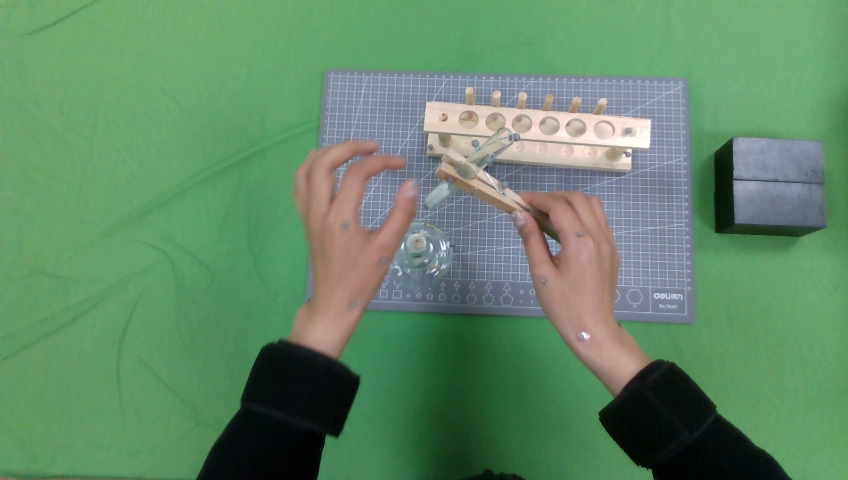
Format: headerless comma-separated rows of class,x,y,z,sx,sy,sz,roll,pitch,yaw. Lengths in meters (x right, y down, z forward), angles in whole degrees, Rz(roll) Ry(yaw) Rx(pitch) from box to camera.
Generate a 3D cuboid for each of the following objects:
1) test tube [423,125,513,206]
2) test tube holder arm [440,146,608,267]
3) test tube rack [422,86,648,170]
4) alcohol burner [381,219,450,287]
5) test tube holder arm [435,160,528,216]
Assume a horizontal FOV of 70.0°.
test tube,0.032,-0.058,0.513,0.017,0.150,0.017,7,71,-21
test tube holder arm,0.091,-0.027,0.530,0.179,0.015,0.013,32,70,-12
test tube rack,0.123,-0.134,0.696,0.242,0.085,0.066,5,81,3
alcohol burner,-0.010,0.011,0.660,0.078,0.119,0.077,0,78,0
test tube holder arm,0.050,-0.044,0.518,0.088,0.015,0.010,25,71,-15
